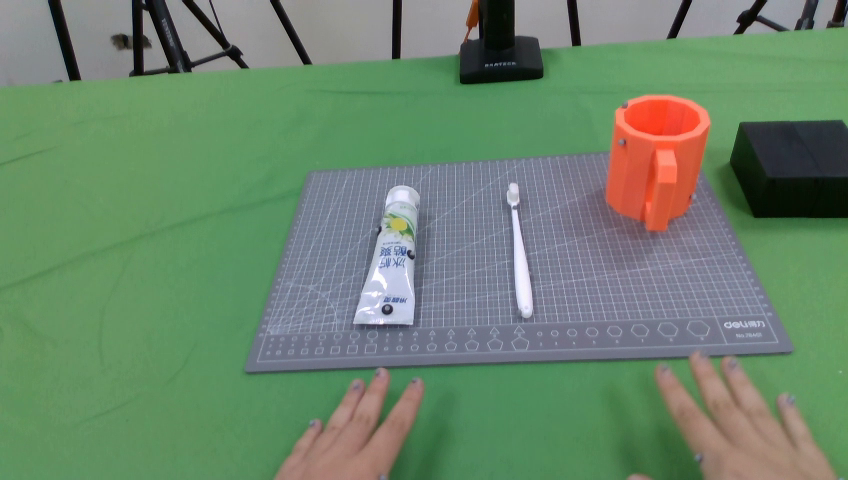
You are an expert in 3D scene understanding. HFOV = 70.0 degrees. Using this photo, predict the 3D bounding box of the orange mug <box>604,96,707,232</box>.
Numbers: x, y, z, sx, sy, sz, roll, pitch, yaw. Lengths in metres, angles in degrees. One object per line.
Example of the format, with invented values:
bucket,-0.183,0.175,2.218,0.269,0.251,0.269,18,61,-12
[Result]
orange mug,0.225,-0.071,0.593,0.083,0.102,0.125,2,38,11

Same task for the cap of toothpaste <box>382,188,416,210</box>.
cap of toothpaste,-0.027,-0.040,0.643,0.037,0.038,0.011,-1,45,7

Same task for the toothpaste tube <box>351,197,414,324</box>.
toothpaste tube,-0.034,0.015,0.588,0.055,0.035,0.163,-4,44,9

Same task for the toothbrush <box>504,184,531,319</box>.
toothbrush,0.091,0.005,0.590,0.014,0.017,0.180,7,43,-4
